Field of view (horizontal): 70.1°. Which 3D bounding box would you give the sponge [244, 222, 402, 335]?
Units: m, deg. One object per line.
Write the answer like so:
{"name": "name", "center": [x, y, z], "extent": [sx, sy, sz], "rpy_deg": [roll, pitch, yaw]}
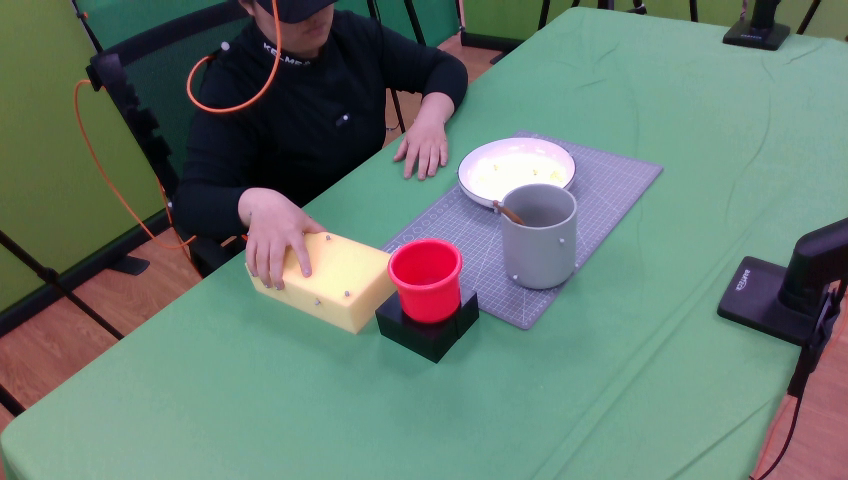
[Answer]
{"name": "sponge", "center": [-0.153, 0.053, 0.919], "extent": [0.205, 0.061, 0.118], "rpy_deg": [17, 47, 28]}

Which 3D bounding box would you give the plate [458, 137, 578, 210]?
{"name": "plate", "center": [0.165, -0.113, 1.068], "extent": [0.207, 0.039, 0.206], "rpy_deg": [-5, 40, 5]}

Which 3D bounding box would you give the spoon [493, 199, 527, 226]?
{"name": "spoon", "center": [0.135, -0.016, 0.831], "extent": [0.021, 0.195, 0.041], "rpy_deg": [-49, 53, -1]}

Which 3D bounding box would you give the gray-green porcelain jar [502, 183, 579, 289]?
{"name": "gray-green porcelain jar", "center": [0.166, -0.001, 0.866], "extent": [0.106, 0.127, 0.105], "rpy_deg": [-5, 40, 5]}
